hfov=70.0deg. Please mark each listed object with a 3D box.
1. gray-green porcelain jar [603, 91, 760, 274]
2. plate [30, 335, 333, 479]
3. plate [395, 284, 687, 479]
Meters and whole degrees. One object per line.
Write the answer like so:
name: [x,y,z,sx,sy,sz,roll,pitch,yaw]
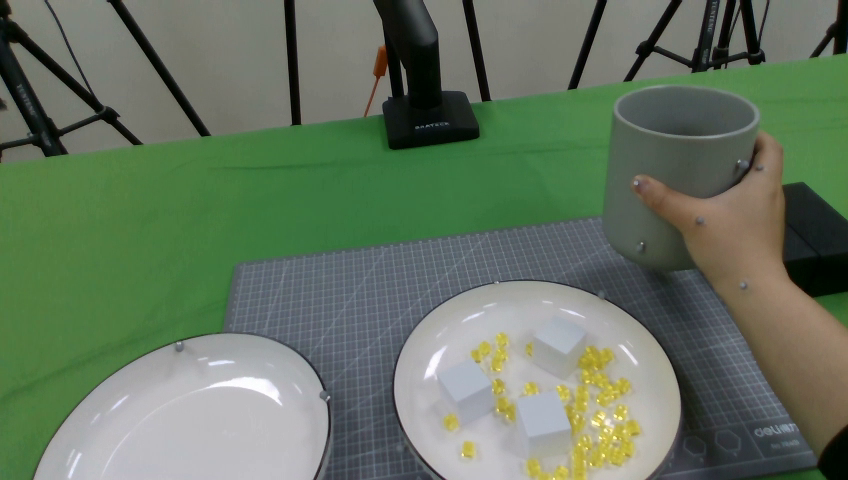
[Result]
gray-green porcelain jar: [0.204,-0.044,0.497,0.106,0.127,0.105,-4,34,3]
plate: [-0.166,0.157,0.432,0.209,0.038,0.207,-4,40,4]
plate: [0.083,0.116,0.453,0.207,0.039,0.205,-3,39,3]
